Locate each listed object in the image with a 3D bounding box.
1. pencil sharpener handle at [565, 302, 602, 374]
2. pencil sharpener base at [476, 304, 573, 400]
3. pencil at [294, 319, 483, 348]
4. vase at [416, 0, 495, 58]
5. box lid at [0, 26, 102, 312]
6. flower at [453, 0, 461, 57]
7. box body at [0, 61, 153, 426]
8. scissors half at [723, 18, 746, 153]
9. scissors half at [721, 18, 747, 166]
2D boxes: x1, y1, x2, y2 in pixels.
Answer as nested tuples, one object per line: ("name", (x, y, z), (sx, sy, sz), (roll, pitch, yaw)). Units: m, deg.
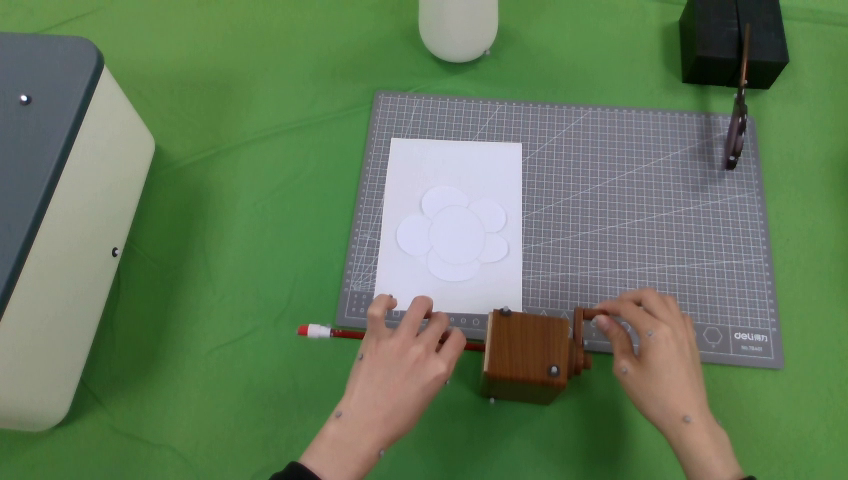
("pencil sharpener handle", (0.142, 0.087, 0.535), (0.030, 0.036, 0.067), (6, 60, 5))
("pencil sharpener base", (0.090, 0.106, 0.557), (0.076, 0.108, 0.061), (6, 66, 5))
("pencil", (-0.018, 0.085, 0.535), (0.194, 0.012, 0.012), (6, 67, 1))
("vase", (0.035, -0.301, 0.681), (0.098, 0.201, 0.097), (-1, 66, 3))
("box lid", (-0.456, -0.044, 0.526), (0.263, 0.015, 0.369), (5, 67, 4))
("flower", (0.026, -0.346, 0.610), (0.044, 0.365, 0.038), (-2, 49, 5))
("box body", (-0.453, -0.012, 0.595), (0.254, 0.161, 0.361), (5, 67, 4))
("scissors half", (0.344, -0.173, 0.661), (0.013, 0.040, 0.174), (10, 68, 16))
("scissors half", (0.350, -0.168, 0.680), (0.012, 0.040, 0.175), (9, 85, 21))
